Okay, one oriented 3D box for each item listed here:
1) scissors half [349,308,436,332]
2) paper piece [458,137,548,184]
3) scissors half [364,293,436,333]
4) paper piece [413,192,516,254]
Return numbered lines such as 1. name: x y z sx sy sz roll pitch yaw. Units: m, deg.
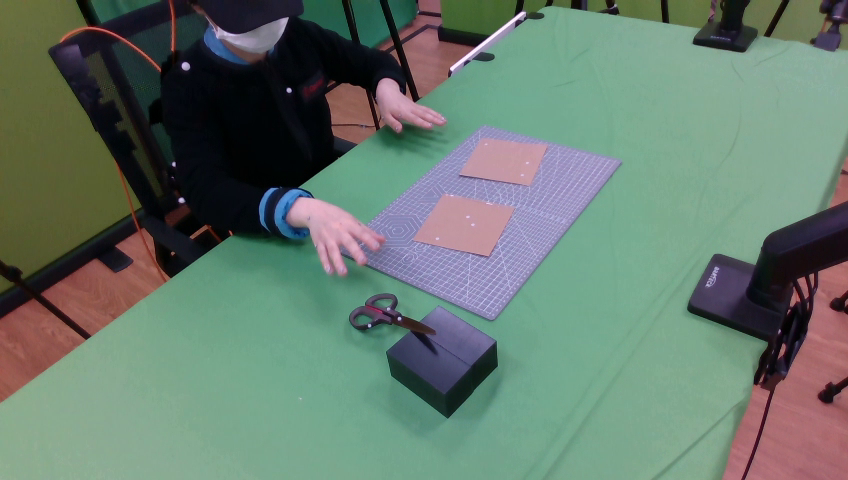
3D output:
1. scissors half: -0.045 0.112 0.806 0.174 0.013 0.040 -2 35 46
2. paper piece: 0.150 -0.152 1.131 0.135 0.009 0.138 15 43 17
3. scissors half: -0.032 0.099 0.815 0.040 0.013 0.173 -43 28 -17
4. paper piece: 0.068 -0.030 1.000 0.134 0.004 0.136 12 44 23
